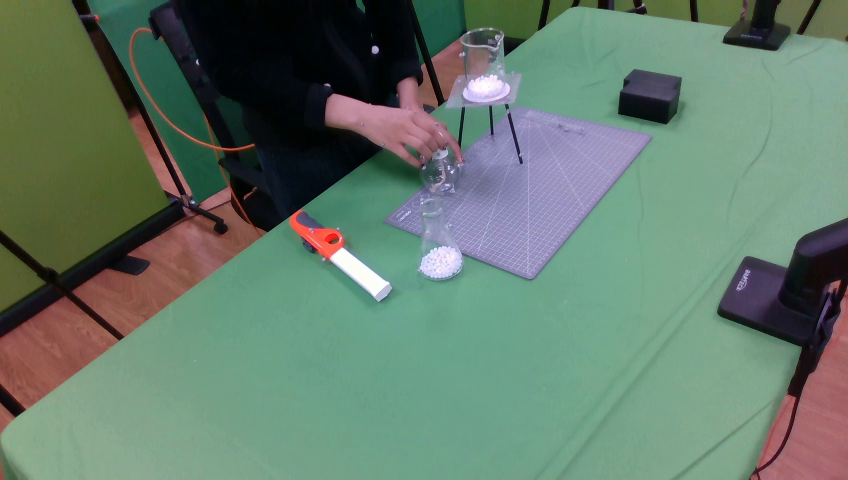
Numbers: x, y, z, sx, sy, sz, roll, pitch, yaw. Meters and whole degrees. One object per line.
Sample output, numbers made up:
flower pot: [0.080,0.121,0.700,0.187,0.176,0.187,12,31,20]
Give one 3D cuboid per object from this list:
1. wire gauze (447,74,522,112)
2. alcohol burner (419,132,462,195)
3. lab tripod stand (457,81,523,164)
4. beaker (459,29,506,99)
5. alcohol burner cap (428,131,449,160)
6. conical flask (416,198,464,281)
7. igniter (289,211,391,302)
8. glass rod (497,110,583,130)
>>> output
wire gauze: [0.109,-0.268,1.087,0.121,0.011,0.125,1,43,15]
alcohol burner: [0.028,-0.139,1.068,0.078,0.119,0.077,-4,40,4]
lab tripod stand: [0.120,-0.219,1.130,0.148,0.132,0.147,-7,39,6]
beaker: [0.107,-0.305,1.056,0.074,0.101,0.083,-27,43,-18]
alcohol burner cap: [0.023,-0.166,1.044,0.034,0.048,0.033,-9,40,8]
conical flask: [0.019,-0.004,0.907,0.075,0.122,0.075,-5,40,5]
igniter: [-0.146,0.019,0.986,0.057,0.025,0.274,-40,48,-18]
glass rod: [0.233,-0.245,1.235,0.198,0.008,0.008,20,49,35]
